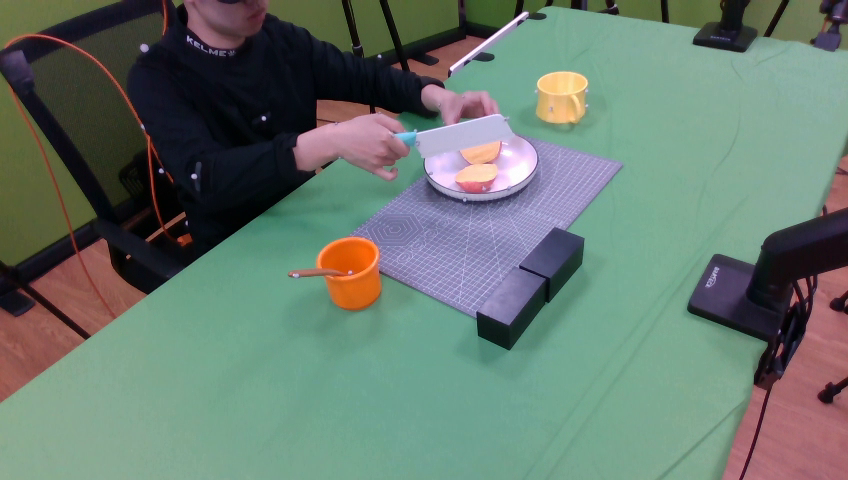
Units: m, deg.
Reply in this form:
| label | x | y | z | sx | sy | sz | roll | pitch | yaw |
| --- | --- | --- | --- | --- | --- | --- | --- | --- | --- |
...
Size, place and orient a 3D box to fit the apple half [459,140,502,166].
| label | x | y | z | sx | sy | sz | roll | pitch | yaw |
| --- | --- | --- | --- | --- | --- | --- | --- | --- | --- |
| apple half | 0.105 | -0.173 | 1.102 | 0.080 | 0.074 | 0.053 | -21 | -5 | 15 |

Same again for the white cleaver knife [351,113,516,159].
| label | x | y | z | sx | sy | sz | roll | pitch | yaw |
| --- | --- | --- | --- | --- | --- | --- | --- | --- | --- |
| white cleaver knife | 0.007 | -0.157 | 0.987 | 0.285 | 0.066 | 0.021 | -6 | 54 | 24 |

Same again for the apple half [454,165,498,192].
| label | x | y | z | sx | sy | sz | roll | pitch | yaw |
| --- | --- | --- | --- | --- | --- | --- | --- | --- | --- |
| apple half | 0.095 | -0.103 | 1.051 | 0.081 | 0.033 | 0.081 | -9 | 27 | 5 |

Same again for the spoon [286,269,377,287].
| label | x | y | z | sx | sy | sz | roll | pitch | yaw |
| --- | --- | --- | --- | --- | --- | --- | --- | --- | --- |
| spoon | -0.125 | 0.049 | 0.831 | 0.041 | 0.195 | 0.021 | 22 | 92 | 28 |

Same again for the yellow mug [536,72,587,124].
| label | x | y | z | sx | sy | sz | roll | pitch | yaw |
| --- | --- | --- | --- | --- | --- | --- | --- | --- | --- |
| yellow mug | 0.285 | -0.281 | 1.222 | 0.100 | 0.064 | 0.130 | -16 | 42 | -9 |

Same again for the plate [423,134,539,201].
| label | x | y | z | sx | sy | sz | roll | pitch | yaw |
| --- | --- | --- | --- | --- | --- | --- | --- | --- | --- |
| plate | 0.103 | -0.132 | 1.092 | 0.209 | 0.038 | 0.208 | -4 | 40 | 4 |
